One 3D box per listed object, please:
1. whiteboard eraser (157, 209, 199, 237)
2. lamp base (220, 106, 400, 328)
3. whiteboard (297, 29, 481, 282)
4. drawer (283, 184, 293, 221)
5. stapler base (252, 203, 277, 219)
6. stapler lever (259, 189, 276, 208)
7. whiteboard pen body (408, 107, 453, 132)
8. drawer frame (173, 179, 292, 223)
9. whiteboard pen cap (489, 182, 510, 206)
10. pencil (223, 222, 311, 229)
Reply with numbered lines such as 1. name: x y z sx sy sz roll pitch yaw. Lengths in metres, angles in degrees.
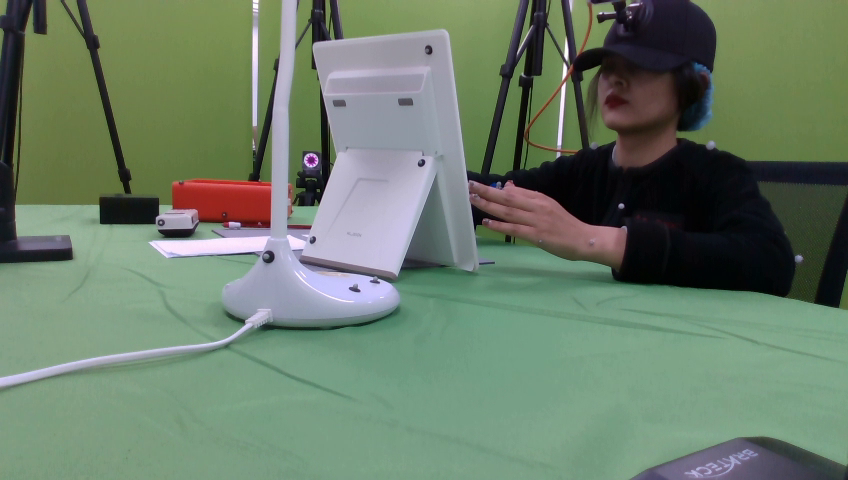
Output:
1. whiteboard eraser: -0.411 -0.029 1.016 0.056 0.042 0.112 2 7 -16
2. lamp base: -0.101 -0.023 0.531 0.160 0.180 0.179 4 10 10
3. whiteboard: -0.075 -0.082 0.741 0.216 0.305 0.144 9 29 37
4. drawer: -0.396 -0.085 1.301 0.212 0.073 0.194 1 8 -7
5. stapler base: -0.341 -0.065 1.301 0.041 0.024 0.130 15 5 -10
6. stapler lever: -0.335 -0.090 1.300 0.027 0.040 0.118 15 4 -10
7. whiteboard pen body: 0.009 -0.165 0.820 0.017 0.017 0.141 6 2 23
8. drawer frame: -0.400 -0.086 1.299 0.214 0.082 0.201 1 8 -8
9. whiteboard pen cap: 0.098 -0.060 0.794 0.018 0.018 0.033 -3 45 -34
10. pencil: -0.274 -0.026 1.132 0.195 0.012 0.012 1 8 -25
